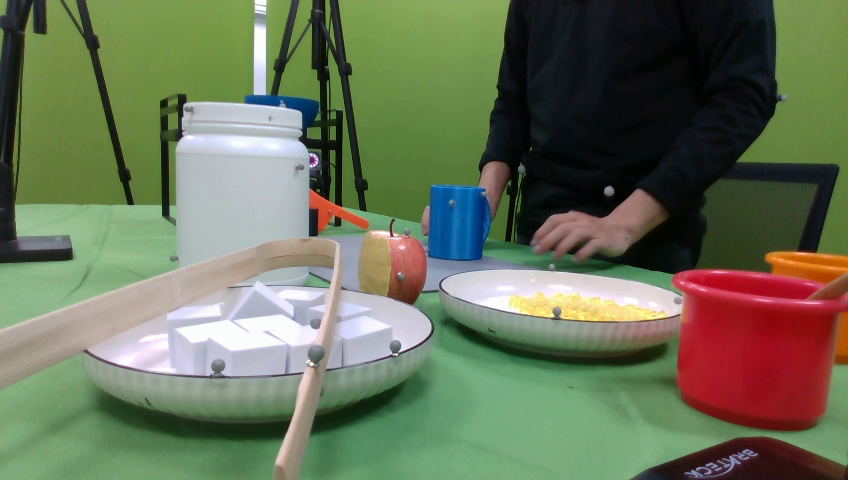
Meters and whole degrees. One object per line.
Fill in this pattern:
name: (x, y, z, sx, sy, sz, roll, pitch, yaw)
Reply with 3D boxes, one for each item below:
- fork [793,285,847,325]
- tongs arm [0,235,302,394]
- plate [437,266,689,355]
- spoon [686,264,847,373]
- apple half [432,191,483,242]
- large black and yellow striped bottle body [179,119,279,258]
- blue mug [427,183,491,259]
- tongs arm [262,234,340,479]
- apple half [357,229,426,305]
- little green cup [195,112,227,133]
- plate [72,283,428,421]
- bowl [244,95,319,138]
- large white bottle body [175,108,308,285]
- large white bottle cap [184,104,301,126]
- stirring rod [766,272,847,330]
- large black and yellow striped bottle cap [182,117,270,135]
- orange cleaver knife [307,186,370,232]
fork: (0.332, 0.019, 0.443, 0.028, 0.018, 0.207, -3, -35, -16)
tongs arm: (-0.157, 0.038, 0.351, 0.028, 0.028, 0.388, -3, 8, 12)
plate: (0.114, 0.057, 0.518, 0.209, 0.038, 0.209, 3, 7, 0)
spoon: (0.214, 0.032, 0.328, 0.042, 0.021, 0.193, -3, -35, -26)
apple half: (0.049, -0.037, 0.904, 0.081, 0.081, 0.033, 3, 14, 3)
large black and yellow striped bottle body: (-0.271, -0.074, 0.846, 0.131, 0.184, 0.130, 0, 9, 0)
blue mug: (0.060, -0.031, 0.905, 0.117, 0.106, 0.082, -4, 10, -42)
tongs arm: (-0.074, 0.039, 0.349, 0.051, 0.026, 0.384, -2, 10, -3)
apple half: (-0.026, 0.028, 0.570, 0.053, 0.074, 0.080, 3, 2, -28)
little green cup: (-0.412, -0.227, 1.171, 0.061, 0.038, 0.061, 3, 8, 0)
plate: (-0.102, 0.066, 0.381, 0.208, 0.039, 0.207, 2, 7, 0)
bowl: (-0.293, -0.251, 1.249, 0.151, 0.077, 0.151, 2, 7, 0)
large white bottle body: (-0.188, -0.042, 0.630, 0.131, 0.184, 0.130, 2, 8, 0)
large white bottle cap: (-0.184, -0.126, 0.618, 0.115, 0.018, 0.115, 2, 8, 0)
stirring rod: (0.352, 0.020, 0.481, 0.176, 0.006, 0.014, -40, -9, 17)
large black and yellow striped bottle cap: (-0.272, -0.156, 0.833, 0.115, 0.019, 0.115, 1, 7, 0)
orange cleaver knife: (-0.197, -0.056, 1.141, 0.212, 0.077, 0.012, 29, 0, -34)
